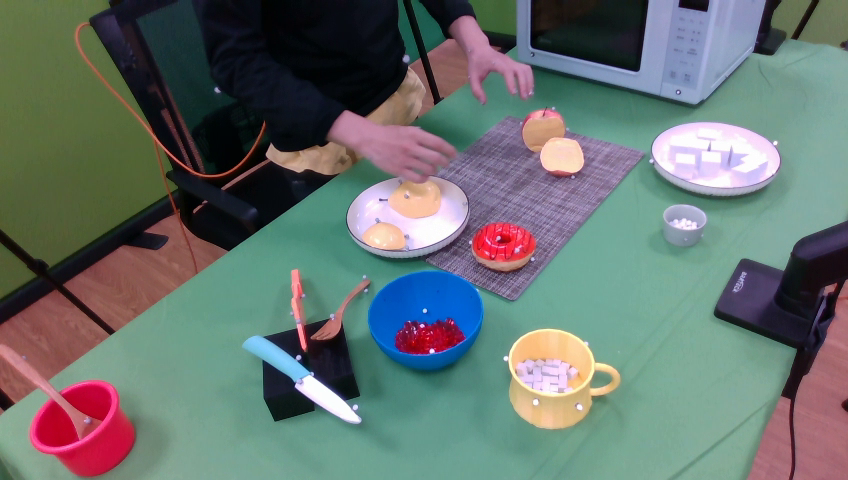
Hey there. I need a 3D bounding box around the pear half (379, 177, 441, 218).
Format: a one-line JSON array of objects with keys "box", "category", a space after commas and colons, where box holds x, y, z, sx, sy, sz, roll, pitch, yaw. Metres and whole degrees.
[{"box": [-0.030, -0.079, 1.033, 0.109, 0.056, 0.076, -1, 36, 16], "category": "pear half"}]

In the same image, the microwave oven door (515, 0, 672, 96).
[{"box": [0.343, -0.455, 1.259, 0.353, 0.245, 0.039, 26, 51, 33], "category": "microwave oven door"}]

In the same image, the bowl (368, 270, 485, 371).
[{"box": [0.007, 0.118, 0.791, 0.151, 0.077, 0.150, -5, 40, 4], "category": "bowl"}]

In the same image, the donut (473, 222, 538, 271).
[{"box": [0.123, 0.008, 0.923, 0.099, 0.048, 0.098, -3, 38, 3], "category": "donut"}]

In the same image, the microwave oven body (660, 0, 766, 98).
[{"box": [0.472, -0.513, 1.317, 0.438, 0.261, 0.327, 26, 51, 34], "category": "microwave oven body"}]

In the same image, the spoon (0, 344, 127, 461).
[{"box": [-0.433, 0.191, 0.721, 0.194, 0.021, 0.042, 47, 53, -6], "category": "spoon"}]

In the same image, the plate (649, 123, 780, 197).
[{"box": [0.497, -0.135, 1.046, 0.207, 0.039, 0.206, -4, 40, 4], "category": "plate"}]

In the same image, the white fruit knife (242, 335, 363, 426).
[{"box": [-0.148, 0.166, 0.730, 0.206, 0.016, 0.027, 26, 80, 31], "category": "white fruit knife"}]

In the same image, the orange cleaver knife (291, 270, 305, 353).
[{"box": [-0.175, 0.094, 0.844, 0.012, 0.077, 0.210, -11, 14, -10], "category": "orange cleaver knife"}]

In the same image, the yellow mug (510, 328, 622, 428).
[{"box": [0.168, 0.164, 0.722, 0.130, 0.064, 0.099, 0, 40, 8], "category": "yellow mug"}]

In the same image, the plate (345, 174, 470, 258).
[{"box": [-0.026, -0.037, 1.004, 0.209, 0.038, 0.208, -4, 41, 4], "category": "plate"}]

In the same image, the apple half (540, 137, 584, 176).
[{"box": [0.247, -0.146, 1.088, 0.081, 0.033, 0.081, -1, 65, 3], "category": "apple half"}]

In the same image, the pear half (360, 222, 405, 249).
[{"box": [-0.064, -0.013, 0.960, 0.071, 0.031, 0.087, 5, 24, -22], "category": "pear half"}]

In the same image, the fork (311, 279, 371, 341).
[{"box": [-0.108, 0.092, 0.832, 0.028, 0.019, 0.207, -6, 19, 15], "category": "fork"}]

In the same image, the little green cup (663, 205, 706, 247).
[{"box": [0.396, -0.020, 0.926, 0.061, 0.039, 0.061, -4, 40, 4], "category": "little green cup"}]

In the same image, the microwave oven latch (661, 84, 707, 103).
[{"box": [0.517, -0.296, 1.204, 0.078, 0.029, 0.030, 27, 52, 35], "category": "microwave oven latch"}]

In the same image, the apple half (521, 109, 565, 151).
[{"box": [0.224, -0.212, 1.145, 0.080, 0.075, 0.053, -6, 36, 9], "category": "apple half"}]
